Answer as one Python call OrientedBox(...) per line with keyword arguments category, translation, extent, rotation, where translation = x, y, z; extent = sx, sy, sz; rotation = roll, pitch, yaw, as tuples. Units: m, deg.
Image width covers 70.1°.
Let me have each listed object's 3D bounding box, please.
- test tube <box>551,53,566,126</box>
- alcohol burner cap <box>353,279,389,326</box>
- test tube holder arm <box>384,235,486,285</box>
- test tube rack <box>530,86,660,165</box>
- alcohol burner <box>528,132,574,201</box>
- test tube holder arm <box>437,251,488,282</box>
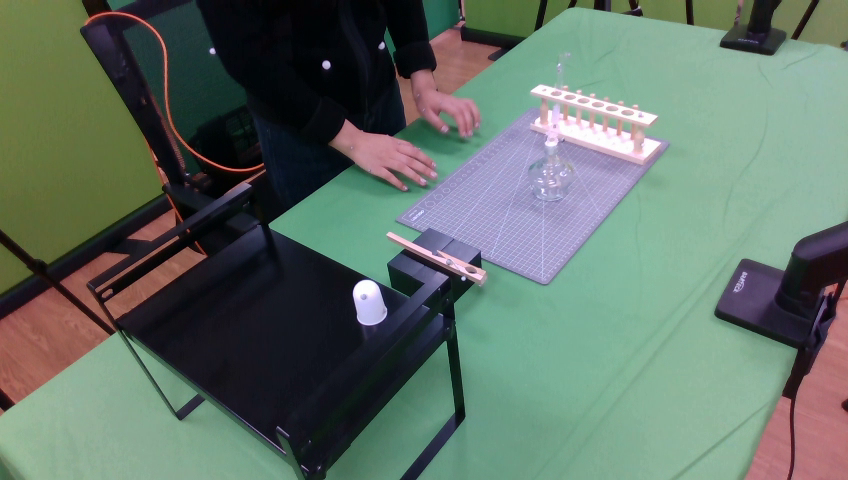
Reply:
OrientedBox(category="test tube", translation=(0.253, -0.280, 1.138), extent=(0.017, 0.151, 0.017), rotation=(-3, 44, 3))
OrientedBox(category="alcohol burner cap", translation=(-0.055, 0.061, 0.616), extent=(0.034, 0.048, 0.033), rotation=(-4, 41, 4))
OrientedBox(category="test tube holder arm", translation=(0.012, 0.027, 0.871), extent=(0.177, 0.015, 0.013), rotation=(21, 53, 30))
OrientedBox(category="test tube rack", translation=(0.320, -0.226, 1.140), extent=(0.240, 0.085, 0.067), rotation=(27, 51, 34))
OrientedBox(category="alcohol burner", translation=(0.214, -0.126, 1.016), extent=(0.078, 0.119, 0.077), rotation=(-5, 38, 5))
OrientedBox(category="test tube holder arm", translation=(0.051, 0.037, 0.852), extent=(0.087, 0.015, 0.010), rotation=(22, 54, 31))
